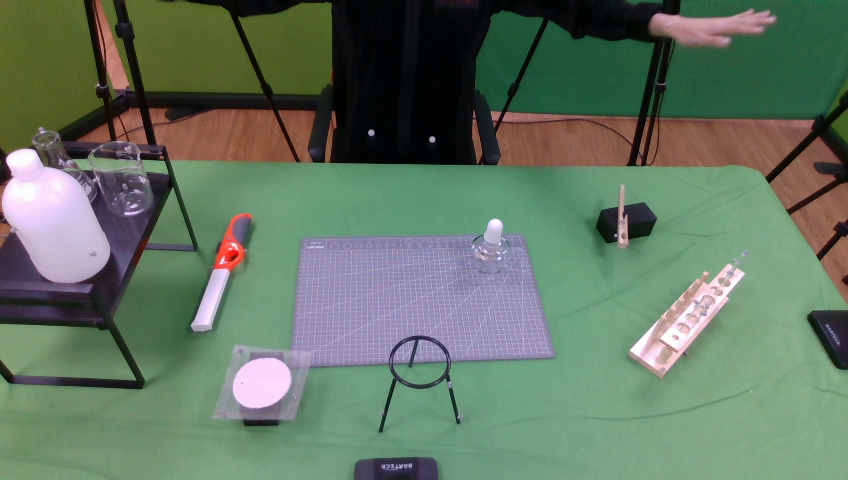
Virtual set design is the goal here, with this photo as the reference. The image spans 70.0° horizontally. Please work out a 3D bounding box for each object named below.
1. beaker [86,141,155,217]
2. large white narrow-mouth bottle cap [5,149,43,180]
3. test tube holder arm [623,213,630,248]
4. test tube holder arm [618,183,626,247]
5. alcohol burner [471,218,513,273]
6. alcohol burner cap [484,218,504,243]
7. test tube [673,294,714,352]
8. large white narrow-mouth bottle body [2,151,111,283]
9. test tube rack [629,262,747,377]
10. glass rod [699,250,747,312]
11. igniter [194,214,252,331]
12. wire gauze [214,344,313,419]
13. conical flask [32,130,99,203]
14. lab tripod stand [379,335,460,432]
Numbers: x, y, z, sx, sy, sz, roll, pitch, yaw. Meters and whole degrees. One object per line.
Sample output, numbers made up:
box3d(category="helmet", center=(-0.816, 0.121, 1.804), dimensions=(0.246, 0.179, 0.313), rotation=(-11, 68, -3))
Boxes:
box3d(category="beaker", center=(-0.467, -0.092, 0.949), dimensions=(0.084, 0.101, 0.073), rotation=(15, 47, 11))
box3d(category="large white narrow-mouth bottle cap", center=(-0.505, -0.096, 0.765), dimensions=(0.038, 0.024, 0.037), rotation=(2, 46, -1))
box3d(category="test tube holder arm", center=(0.392, -0.020, 1.180), dimensions=(0.010, 0.015, 0.087), rotation=(15, 47, -1))
box3d(category="test tube holder arm", center=(0.395, -0.053, 1.210), dimensions=(0.013, 0.015, 0.177), rotation=(15, 47, -1))
box3d(category="alcohol burner", center=(0.128, 0.005, 1.132), dimensions=(0.078, 0.120, 0.077), rotation=(0, 47, 0))
box3d(category="alcohol burner cap", center=(0.130, -0.021, 1.106), dimensions=(0.034, 0.048, 0.033), rotation=(3, 51, -4))
box3d(category="test tube", center=(0.428, 0.137, 0.978), dimensions=(0.017, 0.151, 0.017), rotation=(4, 47, -4))
box3d(category="large white narrow-mouth bottle body", center=(-0.507, -0.036, 0.825), dimensions=(0.102, 0.195, 0.101), rotation=(2, 46, -1))
box3d(category="test tube rack", center=(0.464, 0.126, 1.061), dimensions=(0.242, 0.085, 0.066), rotation=(-34, 56, -30))
box3d(category="glass rod", center=(0.500, 0.075, 1.021), dimensions=(0.008, 0.201, 0.008), rotation=(0, 55, 0))
box3d(category="igniter", center=(-0.367, 0.050, 1.119), dimensions=(0.057, 0.025, 0.275), rotation=(-4, 46, 7))
box3d(category="wire gauze", center=(-0.241, 0.213, 0.916), dimensions=(0.121, 0.011, 0.124), rotation=(5, 46, 1))
box3d(category="conical flask", center=(-0.565, -0.110, 0.944), dimensions=(0.075, 0.122, 0.075), rotation=(2, 46, -2))
box3d(category="lab tripod stand", center=(-0.011, 0.214, 0.911), dimensions=(0.148, 0.132, 0.147), rotation=(1, 45, 0))
